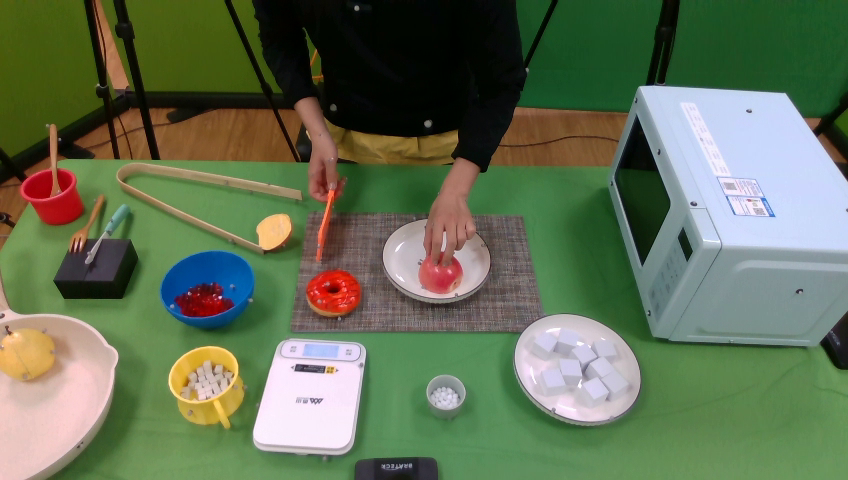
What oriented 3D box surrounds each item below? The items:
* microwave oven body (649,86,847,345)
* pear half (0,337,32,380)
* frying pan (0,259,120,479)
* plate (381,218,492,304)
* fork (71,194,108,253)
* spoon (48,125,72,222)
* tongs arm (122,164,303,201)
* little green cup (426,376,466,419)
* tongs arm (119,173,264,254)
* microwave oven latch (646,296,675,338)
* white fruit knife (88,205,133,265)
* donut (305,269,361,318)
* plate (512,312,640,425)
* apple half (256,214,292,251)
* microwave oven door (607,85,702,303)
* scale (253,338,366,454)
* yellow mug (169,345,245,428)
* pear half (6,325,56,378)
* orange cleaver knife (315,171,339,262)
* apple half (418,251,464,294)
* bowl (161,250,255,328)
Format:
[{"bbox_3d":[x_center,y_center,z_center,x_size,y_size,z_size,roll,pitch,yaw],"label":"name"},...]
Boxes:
[{"bbox_3d":[0.568,-0.053,1.118,0.326,0.261,0.439,2,45,-1],"label":"microwave oven body"},{"bbox_3d":[-0.631,0.184,0.921,0.070,0.088,0.031,29,49,19],"label":"pear half"},{"bbox_3d":[-0.647,0.164,0.936,0.307,0.103,0.485,-19,58,-22],"label":"frying pan"},{"bbox_3d":[0.023,0.042,1.143,0.209,0.038,0.208,2,46,-2],"label":"plate"},{"bbox_3d":[-0.634,-0.036,1.158,0.028,0.019,0.206,-8,32,-8],"label":"fork"},{"bbox_3d":[-0.718,-0.131,1.189,0.041,0.021,0.193,-4,90,-7],"label":"spoon"},{"bbox_3d":[-0.444,-0.113,1.268,0.384,0.026,0.050,12,50,8],"label":"tongs arm"},{"bbox_3d":[0.033,0.248,0.950,0.061,0.039,0.061,2,46,-2],"label":"little green cup"},{"bbox_3d":[-0.474,-0.054,1.213,0.386,0.028,0.028,23,56,18],"label":"tongs arm"},{"bbox_3d":[0.412,0.134,1.061,0.030,0.029,0.078,4,45,1],"label":"microwave oven latch"},{"bbox_3d":[-0.584,-0.013,1.129,0.016,0.027,0.206,-1,32,-5],"label":"white fruit knife"},{"bbox_3d":[-0.161,0.094,1.075,0.099,0.048,0.098,4,45,-3],"label":"donut"},{"bbox_3d":[0.246,0.213,0.999,0.208,0.039,0.206,2,46,-2],"label":"plate"},{"bbox_3d":[-0.285,-0.011,1.176,0.081,0.033,0.081,-10,60,18],"label":"apple half"},{"bbox_3d":[0.423,-0.094,1.140,0.039,0.245,0.353,2,46,-1],"label":"microwave oven door"},{"bbox_3d":[-0.175,0.236,0.951,0.149,0.032,0.199,5,45,-1],"label":"scale"},{"bbox_3d":[-0.322,0.230,0.922,0.100,0.064,0.130,-24,53,-25],"label":"yellow mug"},{"bbox_3d":[-0.608,0.158,0.935,0.076,0.110,0.056,31,51,20],"label":"pear half"},{"bbox_3d":[-0.190,-0.049,1.190,0.012,0.077,0.210,10,46,-5],"label":"orange cleaver knife"},{"bbox_3d":[0.033,0.054,1.109,0.081,0.053,0.074,-32,62,-28],"label":"apple half"},{"bbox_3d":[-0.362,0.097,1.039,0.151,0.077,0.150,2,45,-2],"label":"bowl"}]
